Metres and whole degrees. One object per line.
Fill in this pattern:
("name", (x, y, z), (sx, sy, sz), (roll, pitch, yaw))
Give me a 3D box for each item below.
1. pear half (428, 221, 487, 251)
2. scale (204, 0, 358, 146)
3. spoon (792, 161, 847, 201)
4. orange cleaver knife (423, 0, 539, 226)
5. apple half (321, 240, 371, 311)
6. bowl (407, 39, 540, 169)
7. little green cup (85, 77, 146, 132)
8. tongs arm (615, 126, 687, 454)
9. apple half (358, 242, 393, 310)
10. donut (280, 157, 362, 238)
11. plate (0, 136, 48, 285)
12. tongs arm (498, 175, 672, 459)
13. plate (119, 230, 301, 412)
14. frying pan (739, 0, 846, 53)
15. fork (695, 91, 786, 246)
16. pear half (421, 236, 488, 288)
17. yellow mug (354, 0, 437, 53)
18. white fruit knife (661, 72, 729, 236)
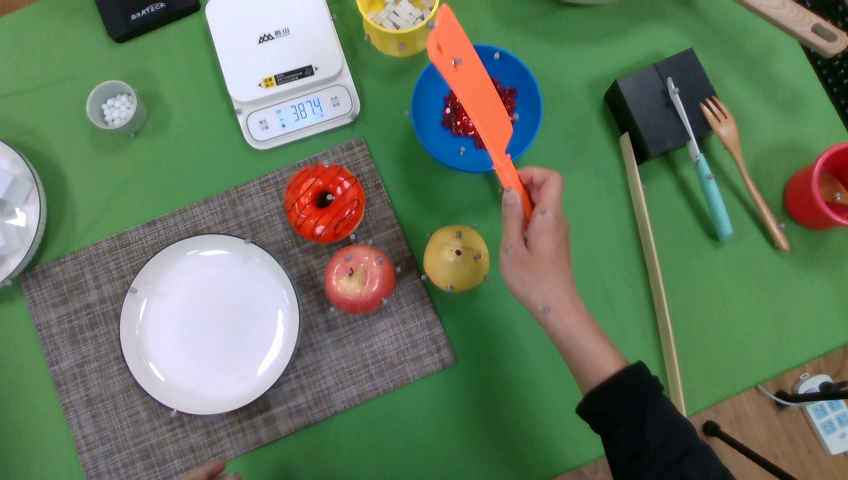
("pear half", (0.040, -0.007, 0.694), (0.070, 0.088, 0.031), (8, 83, 4))
("scale", (-0.178, -0.229, 0.751), (0.149, 0.031, 0.200), (-18, 84, -1))
("spoon", (0.489, -0.035, 0.666), (0.041, 0.022, 0.191), (-28, 39, -3))
("orange cleaver knife", (0.059, -0.109, 0.543), (0.213, 0.012, 0.077), (57, 41, -25))
("apple half", (-0.090, 0.038, 0.694), (0.053, 0.075, 0.080), (10, 86, 5))
("bowl", (0.056, -0.150, 0.717), (0.151, 0.077, 0.151), (0, 84, 1))
("little green cup", (-0.376, -0.163, 0.742), (0.061, 0.039, 0.061), (0, 83, 1))
("tongs arm", (0.265, 0.053, 0.718), (0.028, 0.028, 0.386), (-7, 83, -9))
("apple half", (-0.052, 0.044, 0.692), (0.033, 0.081, 0.081), (10, 83, 5))
("donut", (-0.122, -0.051, 0.720), (0.099, 0.048, 0.099), (0, 84, 2))
("plate", (-0.553, -0.031, 0.728), (0.208, 0.039, 0.207), (0, 83, 1))
("tongs arm", (0.183, 0.078, 0.711), (0.051, 0.026, 0.383), (-22, 84, -7))
("plate", (-0.245, 0.092, 0.707), (0.209, 0.038, 0.208), (0, 83, 1))
("frying pan", (0.279, -0.365, 0.727), (0.485, 0.103, 0.306), (40, 86, 13))
("fork", (0.376, -0.082, 0.713), (0.028, 0.018, 0.208), (-32, 100, -5))
("pear half", (0.032, 0.026, 0.680), (0.076, 0.110, 0.056), (9, 83, 6))
("yellow mug", (-0.046, -0.299, 0.741), (0.130, 0.064, 0.100), (34, 85, 5))
("white fruit knife", (0.316, -0.099, 0.708), (0.016, 0.027, 0.208), (-25, 98, -3))
